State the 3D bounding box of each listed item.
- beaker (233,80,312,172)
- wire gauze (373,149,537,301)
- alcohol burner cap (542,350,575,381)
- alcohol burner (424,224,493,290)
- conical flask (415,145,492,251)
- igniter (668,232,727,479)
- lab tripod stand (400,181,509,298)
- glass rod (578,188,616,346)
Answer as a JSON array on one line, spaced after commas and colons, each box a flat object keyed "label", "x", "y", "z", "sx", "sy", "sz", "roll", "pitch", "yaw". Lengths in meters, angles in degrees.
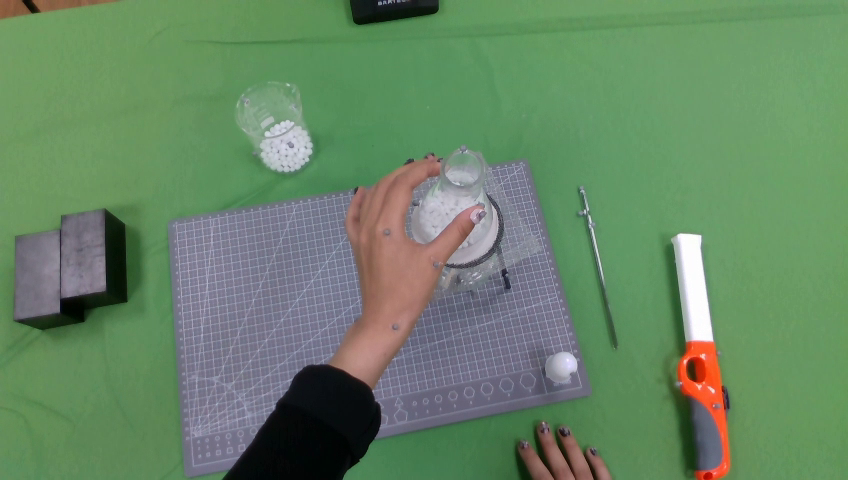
[{"label": "beaker", "x": -0.175, "y": -0.133, "z": 0.727, "sx": 0.073, "sy": 0.101, "sz": 0.084, "roll": 36, "pitch": 74, "yaw": 11}, {"label": "wire gauze", "x": 0.030, "y": -0.016, "z": 0.599, "sx": 0.125, "sy": 0.011, "sz": 0.121, "roll": -26, "pitch": 76, "yaw": -10}, {"label": "alcohol burner cap", "x": 0.151, "y": 0.136, "z": 0.667, "sx": 0.034, "sy": 0.048, "sz": 0.033, "roll": 0, "pitch": 71, "yaw": -1}, {"label": "alcohol burner", "x": 0.039, "y": 0.013, "z": 0.669, "sx": 0.078, "sy": 0.120, "sz": 0.077, "roll": 1, "pitch": 71, "yaw": -2}, {"label": "conical flask", "x": 0.029, "y": -0.041, "z": 0.544, "sx": 0.075, "sy": 0.122, "sz": 0.075, "roll": 0, "pitch": 73, "yaw": -1}, {"label": "igniter", "x": 0.307, "y": 0.123, "z": 0.683, "sx": 0.057, "sy": 0.025, "sz": 0.274, "roll": 5, "pitch": 71, "yaw": -10}, {"label": "lab tripod stand", "x": 0.031, "y": 0.007, "z": 0.661, "sx": 0.148, "sy": 0.132, "sz": 0.147, "roll": 0, "pitch": 73, "yaw": 0}, {"label": "glass rod", "x": 0.205, "y": 0.028, "z": 0.724, "sx": 0.008, "sy": 0.008, "sz": 0.198, "roll": -6, "pitch": 71, "yaw": -3}]
